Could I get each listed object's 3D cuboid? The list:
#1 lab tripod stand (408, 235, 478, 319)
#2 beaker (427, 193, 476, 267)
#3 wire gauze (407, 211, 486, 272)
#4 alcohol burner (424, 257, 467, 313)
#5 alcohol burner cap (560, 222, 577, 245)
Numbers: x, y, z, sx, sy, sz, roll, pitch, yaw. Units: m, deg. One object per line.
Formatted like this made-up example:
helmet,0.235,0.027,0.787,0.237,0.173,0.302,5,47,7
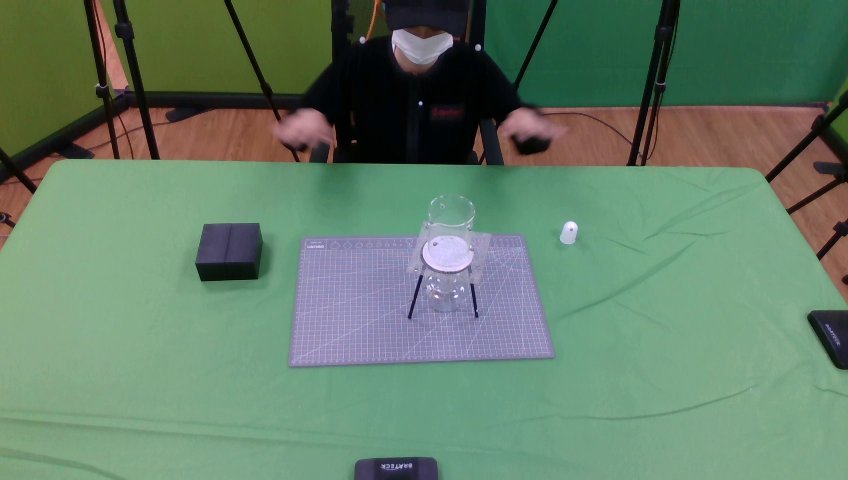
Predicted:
lab tripod stand,0.032,0.065,1.057,0.148,0.132,0.147,1,45,-1
beaker,0.039,-0.011,0.972,0.084,0.101,0.073,-30,53,-28
wire gauze,0.036,0.004,1.003,0.125,0.011,0.120,-6,49,-3
alcohol burner,0.038,0.072,1.064,0.078,0.120,0.077,1,47,-1
alcohol burner cap,0.295,-0.016,1.225,0.034,0.048,0.033,1,46,-1
